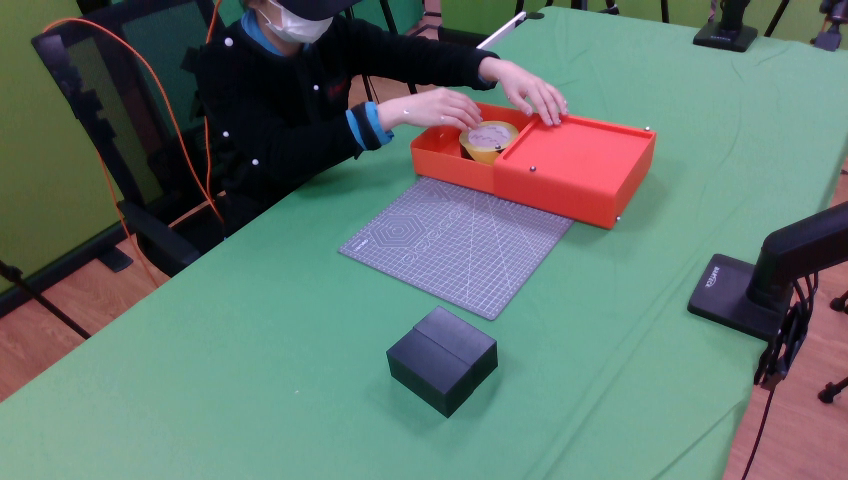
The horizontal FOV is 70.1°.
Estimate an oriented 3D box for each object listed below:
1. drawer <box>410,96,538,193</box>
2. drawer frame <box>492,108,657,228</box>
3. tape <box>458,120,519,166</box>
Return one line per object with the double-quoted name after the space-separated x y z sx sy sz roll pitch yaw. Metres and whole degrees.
0.114 -0.177 1.114 0.210 0.073 0.195 19 46 29 "drawer"
0.255 -0.130 1.032 0.212 0.083 0.202 19 47 27 "drawer frame"
0.121 -0.172 1.116 0.117 0.053 0.116 -6 39 5 "tape"
